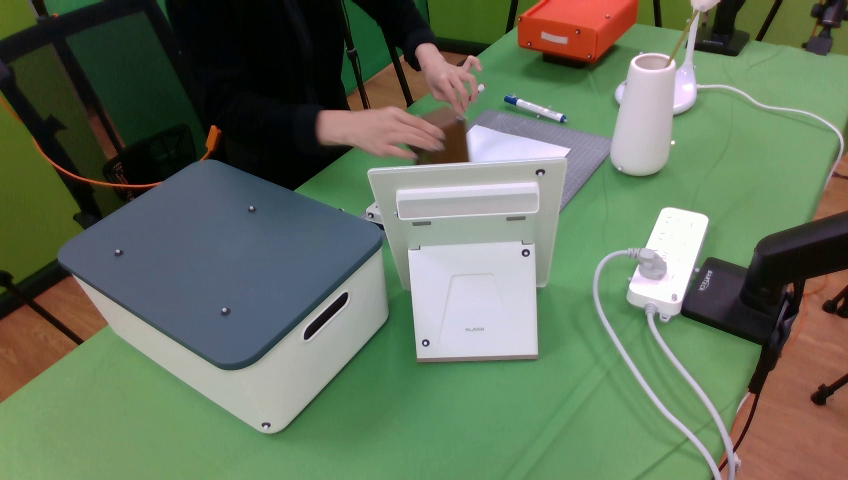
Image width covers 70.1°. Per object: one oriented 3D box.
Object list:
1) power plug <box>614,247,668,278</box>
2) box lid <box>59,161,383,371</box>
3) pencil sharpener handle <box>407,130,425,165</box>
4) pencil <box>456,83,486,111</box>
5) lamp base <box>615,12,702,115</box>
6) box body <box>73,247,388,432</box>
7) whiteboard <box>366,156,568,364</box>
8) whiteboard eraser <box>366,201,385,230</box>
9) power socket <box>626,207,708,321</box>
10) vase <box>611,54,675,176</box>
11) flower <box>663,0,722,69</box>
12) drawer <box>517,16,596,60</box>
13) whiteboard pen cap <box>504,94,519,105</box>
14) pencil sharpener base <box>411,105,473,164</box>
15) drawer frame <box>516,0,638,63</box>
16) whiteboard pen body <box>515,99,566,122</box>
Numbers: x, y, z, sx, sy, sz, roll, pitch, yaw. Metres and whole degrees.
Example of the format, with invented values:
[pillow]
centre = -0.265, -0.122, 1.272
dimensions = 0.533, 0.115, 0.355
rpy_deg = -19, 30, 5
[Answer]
[power plug]
centre = 0.306, 0.031, 0.851
dimensions = 0.072, 0.053, 0.035
rpy_deg = 24, 49, 33
[box lid]
centre = -0.262, 0.010, 0.777
dimensions = 0.369, 0.015, 0.264
rpy_deg = 21, 48, 29
[pencil sharpener handle]
centre = -0.018, -0.132, 0.919
dimensions = 0.031, 0.068, 0.035
rpy_deg = -26, 44, -19
[pencil]
centre = 0.068, -0.250, 1.134
dimensions = 0.012, 0.012, 0.194
rpy_deg = 18, 46, 27
[lamp base]
centre = 0.484, -0.364, 1.211
dimensions = 0.180, 0.181, 0.159
rpy_deg = -15, 41, -14
[box body]
centre = -0.255, 0.065, 0.827
dimensions = 0.361, 0.161, 0.255
rpy_deg = 21, 48, 29
[whiteboard]
centre = 0.059, 0.050, 0.738
dimensions = 0.217, 0.307, 0.143
rpy_deg = -2, 60, 6
[whiteboard eraser]
centre = -0.037, -0.038, 1.006
dimensions = 0.112, 0.042, 0.055
rpy_deg = 16, 48, 25
[power socket]
centre = 0.359, 0.025, 0.886
dimensions = 0.072, 0.033, 0.227
rpy_deg = 16, 46, 26
[vase]
centre = 0.377, -0.209, 1.031
dimensions = 0.098, 0.201, 0.097
rpy_deg = -3, 40, 3
[flower]
centre = 0.379, -0.261, 0.965
dimensions = 0.044, 0.362, 0.038
rpy_deg = 20, 53, 5
[drawer]
centre = 0.352, -0.506, 1.405
dimensions = 0.193, 0.073, 0.212
rpy_deg = 23, 49, 32
[whiteboard pen cap]
centre = 0.190, -0.299, 1.292
dimensions = 0.033, 0.018, 0.018
rpy_deg = 30, 52, 28
[pencil sharpener base]
centre = 0.028, -0.143, 0.944
dimensions = 0.077, 0.107, 0.061
rpy_deg = -26, 42, -19
[drawer frame]
centre = 0.355, -0.508, 1.410
dimensions = 0.200, 0.083, 0.214
rpy_deg = 23, 51, 32
[whiteboard pen body]
centre = 0.234, -0.274, 1.262
dimensions = 0.139, 0.017, 0.017
rpy_deg = 28, 51, 29
